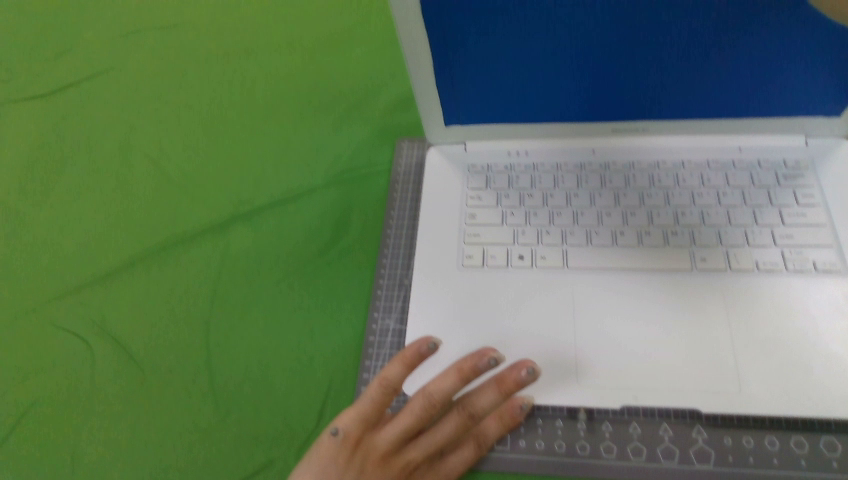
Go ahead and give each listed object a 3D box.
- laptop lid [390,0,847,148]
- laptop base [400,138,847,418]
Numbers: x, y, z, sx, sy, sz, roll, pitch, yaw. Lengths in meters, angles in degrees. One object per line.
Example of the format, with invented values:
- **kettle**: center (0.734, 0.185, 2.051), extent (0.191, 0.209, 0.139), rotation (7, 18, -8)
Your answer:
- **laptop lid**: center (0.161, -0.130, 0.421), extent (0.356, 0.244, 0.013), rotation (-1, 67, 10)
- **laptop base**: center (0.167, 0.017, 0.467), extent (0.354, 0.023, 0.233), rotation (0, 59, 9)
